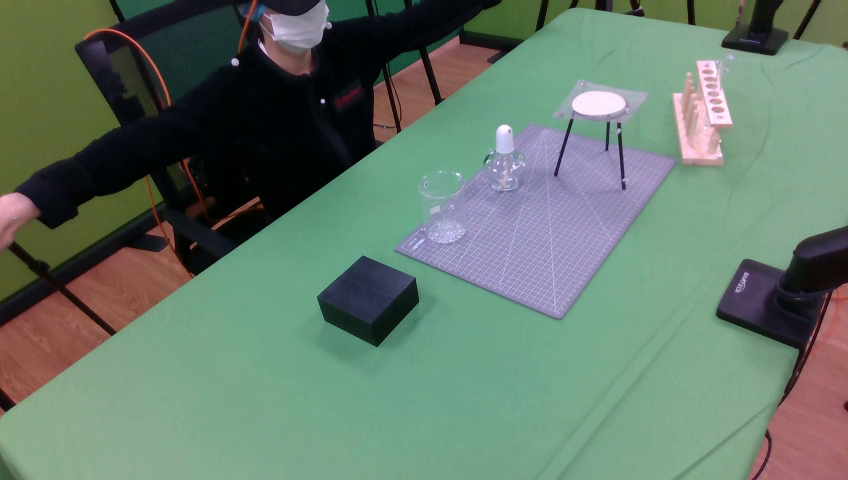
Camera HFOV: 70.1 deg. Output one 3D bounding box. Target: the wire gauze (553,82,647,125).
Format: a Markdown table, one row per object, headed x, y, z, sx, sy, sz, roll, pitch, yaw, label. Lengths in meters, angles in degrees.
| x | y | z | sx | sy | sz | roll | pitch | yaw | label |
| --- | --- | --- | --- | --- | --- | --- | --- | --- | --- |
| 0.293 | -0.225 | 1.002 | 0.120 | 0.011 | 0.125 | 17 | 45 | 27 | wire gauze |

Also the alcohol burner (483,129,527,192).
| x | y | z | sx | sy | sz | roll | pitch | yaw | label |
| --- | --- | --- | --- | --- | --- | --- | --- | --- | --- |
| 0.141 | -0.144 | 1.050 | 0.078 | 0.119 | 0.077 | -4 | 42 | 4 | alcohol burner |

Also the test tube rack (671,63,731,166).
| x | y | z | sx | sy | sz | roll | pitch | yaw | label |
| --- | --- | --- | --- | --- | --- | --- | --- | --- | --- |
| 0.513 | -0.241 | 1.132 | 0.066 | 0.085 | 0.242 | 4 | 41 | 14 | test tube rack |

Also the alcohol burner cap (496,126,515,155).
| x | y | z | sx | sy | sz | roll | pitch | yaw | label |
| --- | --- | --- | --- | --- | --- | --- | --- | --- | --- |
| 0.138 | -0.172 | 1.028 | 0.034 | 0.048 | 0.033 | -5 | 38 | 4 | alcohol burner cap |

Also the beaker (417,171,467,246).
| x | y | z | sx | sy | sz | roll | pitch | yaw | label |
| --- | --- | --- | --- | --- | --- | --- | --- | --- | --- |
| 0.034 | -0.049 | 0.965 | 0.084 | 0.101 | 0.073 | -32 | 45 | -27 | beaker |

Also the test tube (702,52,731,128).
| x | y | z | sx | sy | sz | roll | pitch | yaw | label |
| --- | --- | --- | --- | --- | --- | --- | --- | --- | --- |
| 0.523 | -0.266 | 1.082 | 0.017 | 0.151 | 0.017 | -3 | 45 | 4 | test tube |

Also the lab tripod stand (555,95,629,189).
| x | y | z | sx | sy | sz | roll | pitch | yaw | label |
| --- | --- | --- | --- | --- | --- | --- | --- | --- | --- |
| 0.300 | -0.174 | 1.045 | 0.148 | 0.132 | 0.147 | -5 | 38 | 5 | lab tripod stand |
